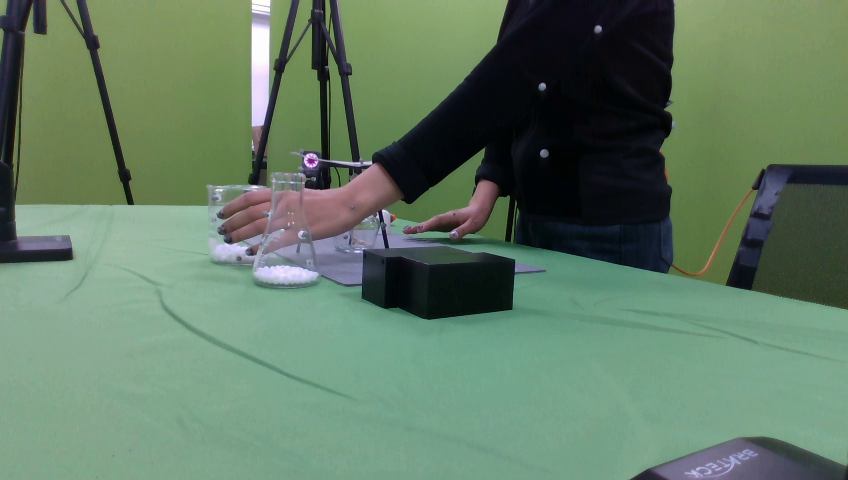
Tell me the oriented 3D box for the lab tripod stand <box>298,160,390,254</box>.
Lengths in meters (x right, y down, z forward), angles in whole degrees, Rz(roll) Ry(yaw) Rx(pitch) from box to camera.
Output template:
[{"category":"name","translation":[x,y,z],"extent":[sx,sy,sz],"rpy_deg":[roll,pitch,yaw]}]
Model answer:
[{"category":"lab tripod stand","translation":[-0.111,-0.050,0.893],"extent":[0.148,0.131,0.148],"rpy_deg":[4,7,0]}]

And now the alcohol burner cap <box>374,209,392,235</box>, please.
[{"category":"alcohol burner cap","translation":[-0.078,-0.035,1.148],"extent":[0.034,0.048,0.034],"rpy_deg":[2,7,0]}]

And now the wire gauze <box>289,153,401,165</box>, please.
[{"category":"wire gauze","translation":[-0.113,-0.117,0.883],"extent":[0.124,0.011,0.122],"rpy_deg":[8,8,27]}]

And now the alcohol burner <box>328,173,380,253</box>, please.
[{"category":"alcohol burner","translation":[-0.104,-0.041,0.902],"extent":[0.078,0.119,0.078],"rpy_deg":[0,7,0]}]

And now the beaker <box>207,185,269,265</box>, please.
[{"category":"beaker","translation":[-0.244,-0.021,0.784],"extent":[0.083,0.100,0.074],"rpy_deg":[6,8,31]}]

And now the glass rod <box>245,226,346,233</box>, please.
[{"category":"glass rod","translation":[-0.237,-0.021,1.140],"extent":[0.201,0.008,0.008],"rpy_deg":[-3,8,-33]}]

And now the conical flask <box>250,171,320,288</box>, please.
[{"category":"conical flask","translation":[-0.150,-0.013,0.658],"extent":[0.075,0.122,0.075],"rpy_deg":[2,7,0]}]

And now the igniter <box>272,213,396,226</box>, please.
[{"category":"igniter","translation":[-0.179,-0.044,1.258],"extent":[0.278,0.025,0.057],"rpy_deg":[-3,-2,-38]}]
